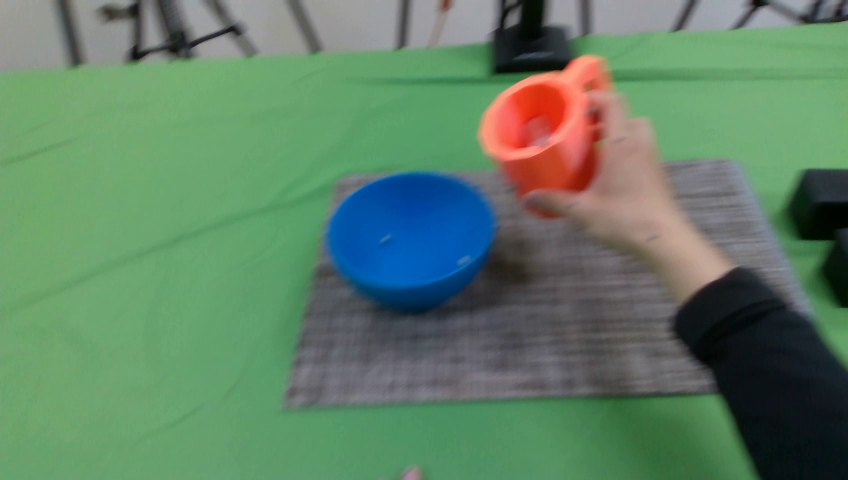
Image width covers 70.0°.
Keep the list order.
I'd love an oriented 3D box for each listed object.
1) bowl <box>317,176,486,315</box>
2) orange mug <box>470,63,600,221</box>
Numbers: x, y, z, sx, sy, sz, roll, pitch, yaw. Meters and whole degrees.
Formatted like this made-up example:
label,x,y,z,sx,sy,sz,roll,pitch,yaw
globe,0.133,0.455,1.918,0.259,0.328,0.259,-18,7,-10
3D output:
label,x,y,z,sx,sy,sz,roll,pitch,yaw
bowl,-0.017,0.016,0.563,0.151,0.077,0.150,-3,43,3
orange mug,0.109,-0.092,0.539,0.082,0.102,0.126,30,85,41
